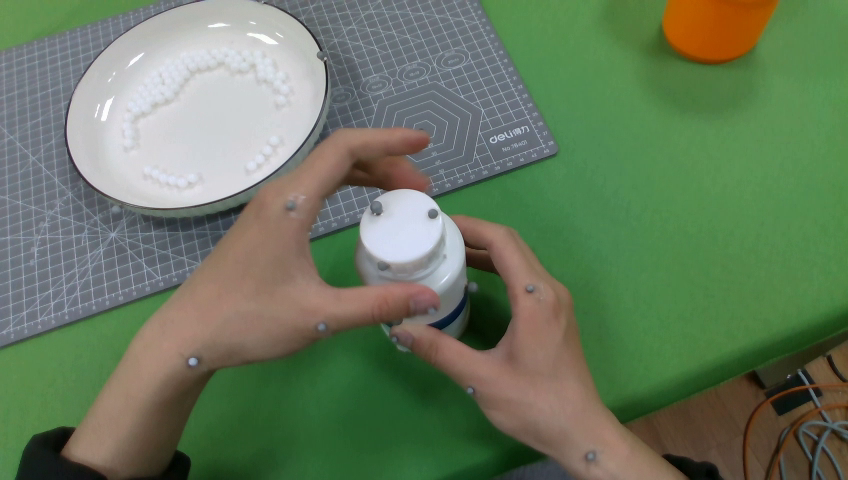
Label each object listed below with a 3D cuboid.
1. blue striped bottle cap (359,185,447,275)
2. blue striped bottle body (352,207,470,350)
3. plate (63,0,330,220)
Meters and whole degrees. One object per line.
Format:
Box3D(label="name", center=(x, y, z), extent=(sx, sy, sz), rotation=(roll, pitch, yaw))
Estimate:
Box3D(label="blue striped bottle cap", center=(-0.011, -0.006, 0.313), extent=(0.044, 0.021, 0.044), rotation=(-3, 63, 6))
Box3D(label="blue striped bottle body", center=(-0.006, 0.020, 0.362), extent=(0.063, 0.122, 0.062), rotation=(-3, 63, 6))
Box3D(label="plate", center=(-0.174, -0.104, 0.482), extent=(0.207, 0.039, 0.206), rotation=(-2, 64, 4))
